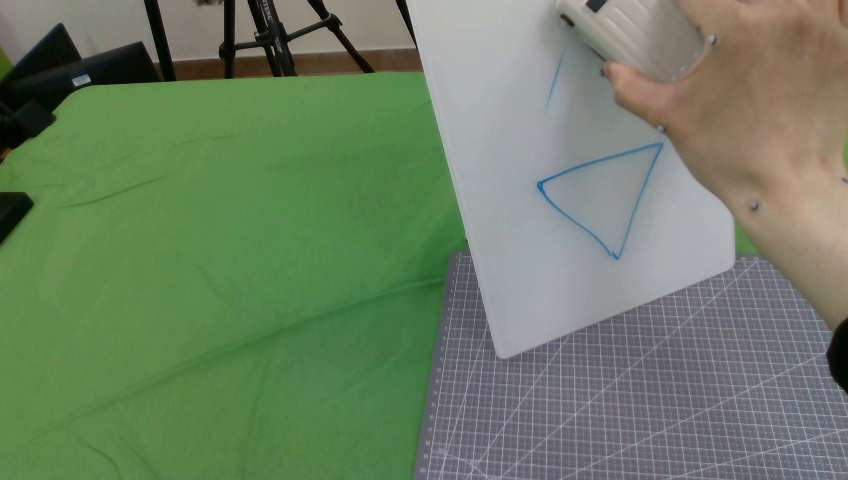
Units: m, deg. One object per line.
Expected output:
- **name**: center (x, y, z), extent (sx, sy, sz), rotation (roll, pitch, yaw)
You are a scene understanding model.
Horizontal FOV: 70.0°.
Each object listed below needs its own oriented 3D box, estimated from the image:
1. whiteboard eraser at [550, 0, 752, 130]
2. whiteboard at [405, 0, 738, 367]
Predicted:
- **whiteboard eraser**: center (0.136, -0.122, 0.368), extent (0.113, 0.055, 0.042), rotation (40, 18, -1)
- **whiteboard**: center (0.104, -0.095, 0.480), extent (0.217, 0.308, 0.142), rotation (-20, 26, -7)
